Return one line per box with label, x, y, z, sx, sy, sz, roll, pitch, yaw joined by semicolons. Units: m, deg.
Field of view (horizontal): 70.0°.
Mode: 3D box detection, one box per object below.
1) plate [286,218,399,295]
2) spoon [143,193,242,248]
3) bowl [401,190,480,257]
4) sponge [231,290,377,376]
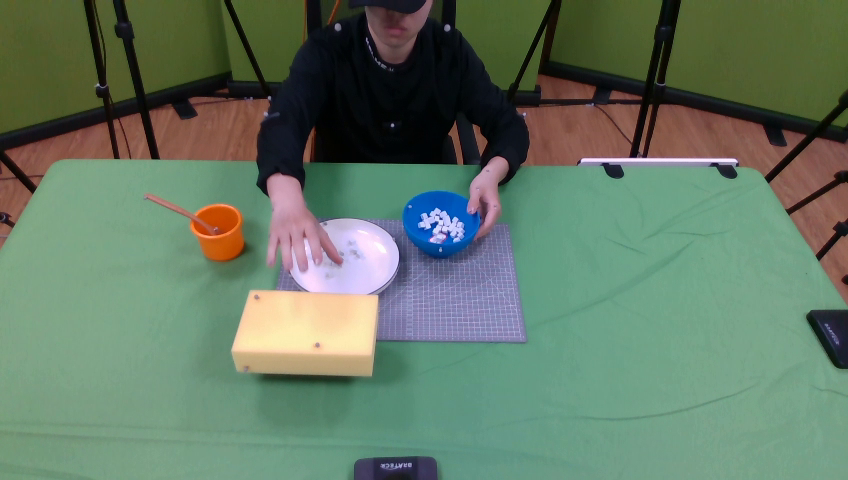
plate;-0.150;0.042;1.131;0.209;0.038;0.208;2;46;-2
spoon;-0.421;-0.037;1.113;0.021;0.195;0.041;-37;37;23
bowl;0.029;-0.019;1.175;0.151;0.077;0.150;3;46;-2
sponge;-0.180;0.145;0.949;0.207;0.061;0.117;2;46;-2
